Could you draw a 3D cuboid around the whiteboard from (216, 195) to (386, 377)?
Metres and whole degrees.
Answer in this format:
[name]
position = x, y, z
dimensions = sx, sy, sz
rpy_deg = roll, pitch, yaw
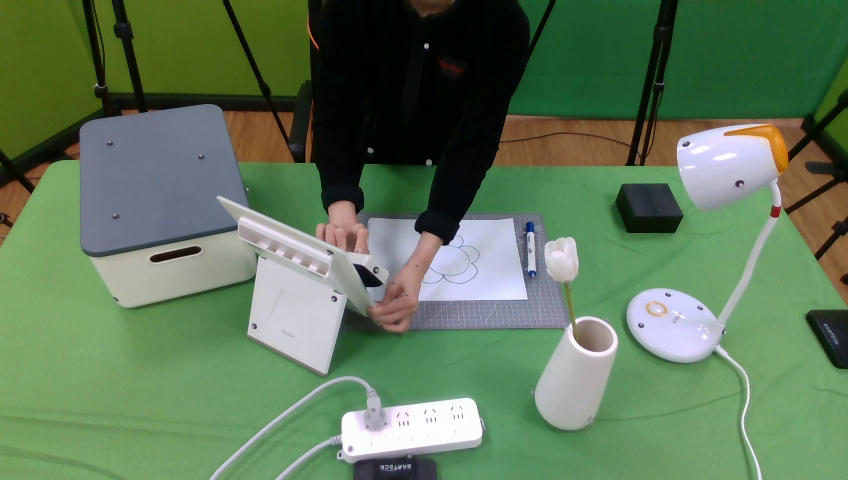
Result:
[whiteboard]
position = -0.212, 0.093, 0.938
dimensions = 0.216, 0.307, 0.143
rpy_deg = 24, 70, 17

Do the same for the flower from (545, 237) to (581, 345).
[flower]
position = 0.213, 0.137, 0.846
dimensions = 0.038, 0.364, 0.044
rpy_deg = 20, 54, 39

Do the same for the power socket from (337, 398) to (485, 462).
[power socket]
position = -0.018, 0.285, 0.914
dimensions = 0.227, 0.033, 0.071
rpy_deg = -4, 46, -8

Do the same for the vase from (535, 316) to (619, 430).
[vase]
position = 0.229, 0.200, 0.900
dimensions = 0.098, 0.201, 0.097
rpy_deg = 3, 46, -3

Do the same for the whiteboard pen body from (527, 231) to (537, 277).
[whiteboard pen body]
position = 0.211, 0.018, 1.191
dimensions = 0.017, 0.017, 0.140
rpy_deg = 6, 44, 1

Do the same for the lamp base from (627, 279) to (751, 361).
[lamp base]
position = 0.460, 0.100, 1.027
dimensions = 0.178, 0.181, 0.160
rpy_deg = 27, 51, 17

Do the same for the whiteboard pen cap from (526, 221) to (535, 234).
[whiteboard pen cap]
position = 0.216, -0.022, 1.233
dimensions = 0.018, 0.018, 0.033
rpy_deg = 6, 45, 2

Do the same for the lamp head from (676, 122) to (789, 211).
[lamp head]
position = 0.423, -0.104, 0.819
dimensions = 0.122, 0.113, 0.112
rpy_deg = -13, 33, 40

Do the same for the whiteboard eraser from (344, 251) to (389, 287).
[whiteboard eraser]
position = -0.110, 0.045, 0.937
dimensions = 0.112, 0.056, 0.041
rpy_deg = 8, 63, 47

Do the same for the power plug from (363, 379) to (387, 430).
[power plug]
position = -0.072, 0.252, 0.911
dimensions = 0.035, 0.053, 0.072
rpy_deg = 3, 40, 0

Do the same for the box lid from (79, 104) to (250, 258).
[box lid]
position = -0.467, -0.121, 1.075
dimensions = 0.264, 0.015, 0.369
rpy_deg = -13, 49, -18

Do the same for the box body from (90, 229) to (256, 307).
[box body]
position = -0.471, -0.070, 1.131
dimensions = 0.254, 0.161, 0.361
rpy_deg = -14, 49, -17
